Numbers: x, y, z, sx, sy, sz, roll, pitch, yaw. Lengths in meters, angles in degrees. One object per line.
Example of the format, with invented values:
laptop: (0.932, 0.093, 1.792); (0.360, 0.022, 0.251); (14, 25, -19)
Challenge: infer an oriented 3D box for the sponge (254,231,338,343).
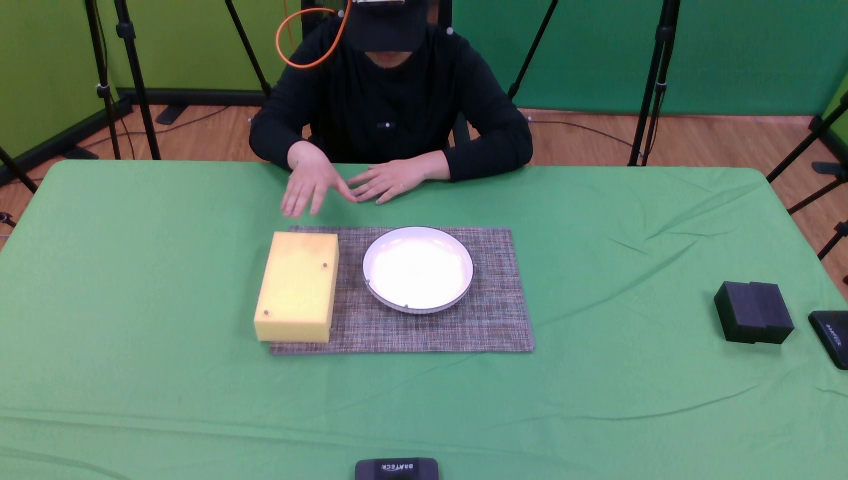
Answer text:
sponge: (-0.221, 0.079, 1.073); (0.118, 0.061, 0.205); (1, 46, -3)

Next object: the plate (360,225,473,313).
plate: (-0.014, 0.057, 1.126); (0.208, 0.039, 0.206); (2, 46, -2)
